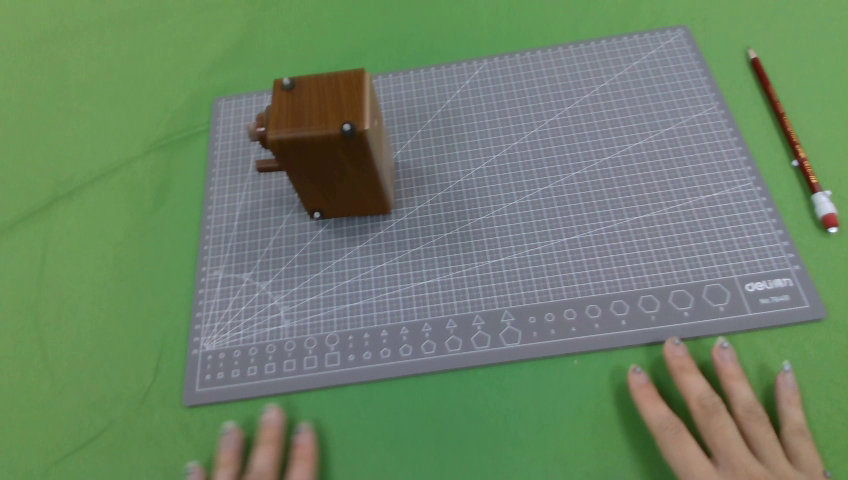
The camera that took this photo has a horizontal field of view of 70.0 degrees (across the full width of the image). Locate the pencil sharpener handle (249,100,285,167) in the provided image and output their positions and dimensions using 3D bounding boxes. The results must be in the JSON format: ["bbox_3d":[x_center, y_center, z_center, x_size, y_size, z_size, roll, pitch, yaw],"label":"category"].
[{"bbox_3d":[-0.121,-0.075,0.455,0.030,0.068,0.035,-5,64,5],"label":"pencil sharpener handle"}]

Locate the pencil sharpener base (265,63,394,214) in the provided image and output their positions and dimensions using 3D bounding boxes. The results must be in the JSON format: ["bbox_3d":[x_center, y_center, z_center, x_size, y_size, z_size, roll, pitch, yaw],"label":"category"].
[{"bbox_3d":[-0.068,-0.073,0.462,0.076,0.108,0.061,-5,60,5],"label":"pencil sharpener base"}]

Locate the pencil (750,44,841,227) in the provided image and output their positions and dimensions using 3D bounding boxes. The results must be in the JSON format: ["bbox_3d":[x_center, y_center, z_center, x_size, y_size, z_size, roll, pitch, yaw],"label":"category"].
[{"bbox_3d":[0.295,-0.093,0.489,0.012,0.012,0.192,-5,58,5],"label":"pencil"}]
